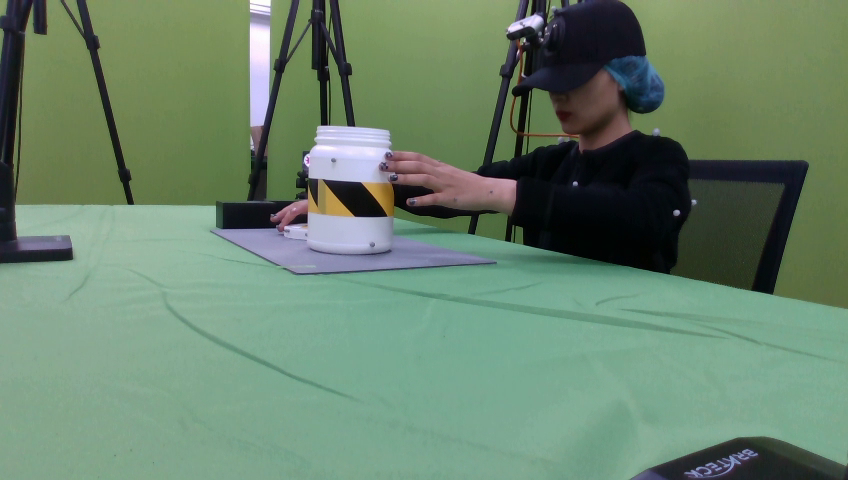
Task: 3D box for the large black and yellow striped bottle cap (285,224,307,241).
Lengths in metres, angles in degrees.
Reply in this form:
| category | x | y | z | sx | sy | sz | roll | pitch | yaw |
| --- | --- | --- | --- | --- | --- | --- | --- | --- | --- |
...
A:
| category | x | y | z | sx | sy | sz | roll | pitch | yaw |
| --- | --- | --- | --- | --- | --- | --- | --- | --- | --- |
| large black and yellow striped bottle cap | -0.185 | -0.014 | 1.058 | 0.115 | 0.019 | 0.115 | 1 | 8 | 0 |

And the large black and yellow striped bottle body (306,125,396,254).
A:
| category | x | y | z | sx | sy | sz | roll | pitch | yaw |
| --- | --- | --- | --- | --- | --- | --- | --- | --- | --- |
| large black and yellow striped bottle body | -0.109 | -0.077 | 0.913 | 0.131 | 0.184 | 0.130 | 3 | 8 | 0 |
